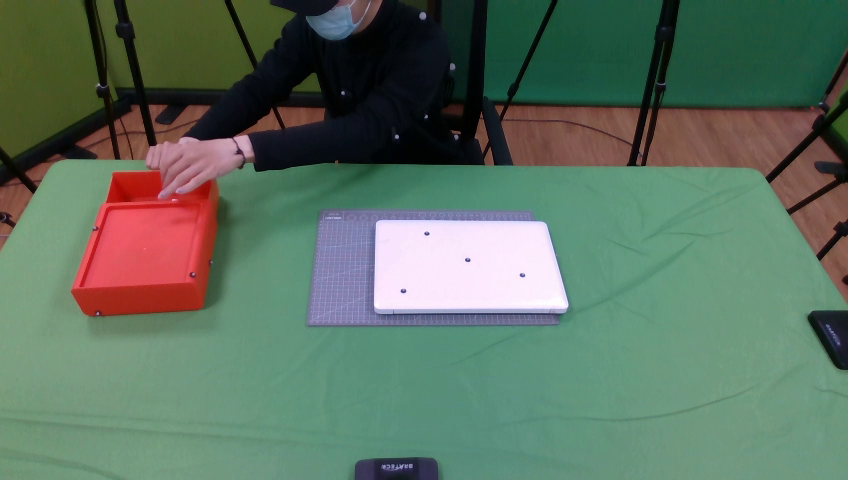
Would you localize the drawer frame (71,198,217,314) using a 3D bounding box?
[{"bbox_3d":[-0.493,0.023,1.096,0.202,0.083,0.212,-3,47,-8],"label":"drawer frame"}]

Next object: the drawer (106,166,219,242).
[{"bbox_3d":[-0.507,-0.045,1.163,0.195,0.073,0.210,-3,47,-9],"label":"drawer"}]

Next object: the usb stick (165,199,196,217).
[{"bbox_3d":[-0.489,-0.066,1.210,0.059,0.027,0.021,9,45,7],"label":"usb stick"}]

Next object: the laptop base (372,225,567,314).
[{"bbox_3d":[0.080,0.049,1.159,0.355,0.023,0.234,0,43,-4],"label":"laptop base"}]

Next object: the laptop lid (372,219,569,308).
[{"bbox_3d":[0.081,0.039,1.152,0.357,0.013,0.240,1,44,-3],"label":"laptop lid"}]
